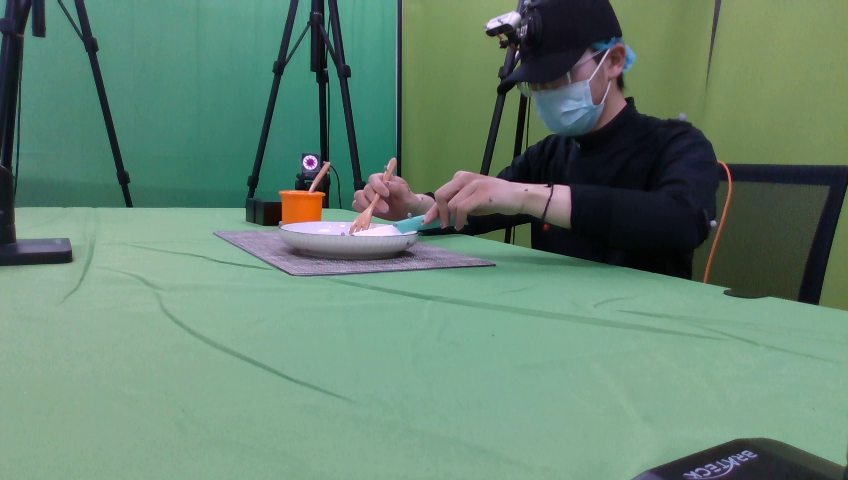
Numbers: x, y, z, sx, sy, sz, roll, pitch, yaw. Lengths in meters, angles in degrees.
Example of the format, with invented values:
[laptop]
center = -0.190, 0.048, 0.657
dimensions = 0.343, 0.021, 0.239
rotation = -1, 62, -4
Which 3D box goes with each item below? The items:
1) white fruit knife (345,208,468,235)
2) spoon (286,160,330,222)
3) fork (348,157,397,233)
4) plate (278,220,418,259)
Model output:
[white fruit knife]
center = -0.038, -0.018, 0.906
dimensions = 0.207, 0.027, 0.016
rotation = -11, 10, 4
[spoon]
center = -0.233, -0.101, 1.252
dimensions = 0.041, 0.193, 0.022
rotation = 2, -38, 24
[fork]
center = -0.080, -0.069, 0.981
dimensions = 0.028, 0.018, 0.207
rotation = 12, 46, 11
[plate]
center = -0.114, -0.002, 0.914
dimensions = 0.209, 0.038, 0.209
rotation = 2, 7, 0
